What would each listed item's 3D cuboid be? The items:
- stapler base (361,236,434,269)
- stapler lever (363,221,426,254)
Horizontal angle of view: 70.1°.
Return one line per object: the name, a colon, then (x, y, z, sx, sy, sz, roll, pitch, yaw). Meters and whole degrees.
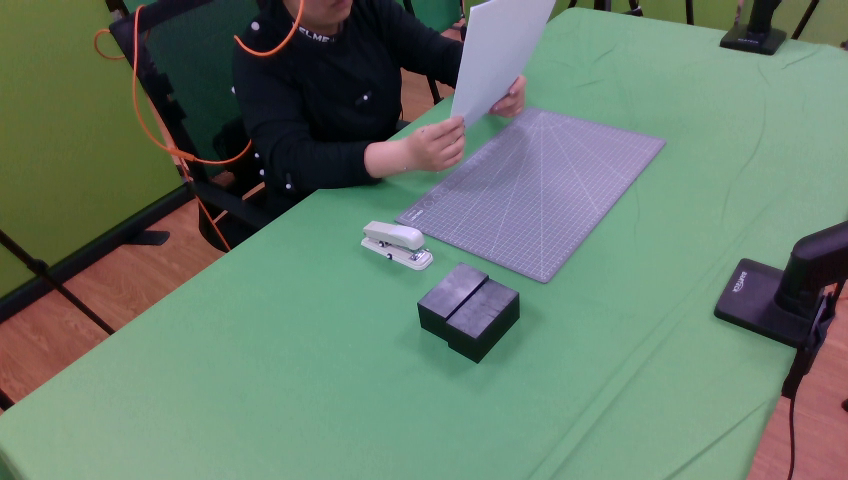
stapler base: (-0.044, 0.009, 0.974, 0.129, 0.024, 0.041, 21, 46, 32)
stapler lever: (-0.048, -0.011, 0.958, 0.117, 0.040, 0.027, 21, 46, 32)
